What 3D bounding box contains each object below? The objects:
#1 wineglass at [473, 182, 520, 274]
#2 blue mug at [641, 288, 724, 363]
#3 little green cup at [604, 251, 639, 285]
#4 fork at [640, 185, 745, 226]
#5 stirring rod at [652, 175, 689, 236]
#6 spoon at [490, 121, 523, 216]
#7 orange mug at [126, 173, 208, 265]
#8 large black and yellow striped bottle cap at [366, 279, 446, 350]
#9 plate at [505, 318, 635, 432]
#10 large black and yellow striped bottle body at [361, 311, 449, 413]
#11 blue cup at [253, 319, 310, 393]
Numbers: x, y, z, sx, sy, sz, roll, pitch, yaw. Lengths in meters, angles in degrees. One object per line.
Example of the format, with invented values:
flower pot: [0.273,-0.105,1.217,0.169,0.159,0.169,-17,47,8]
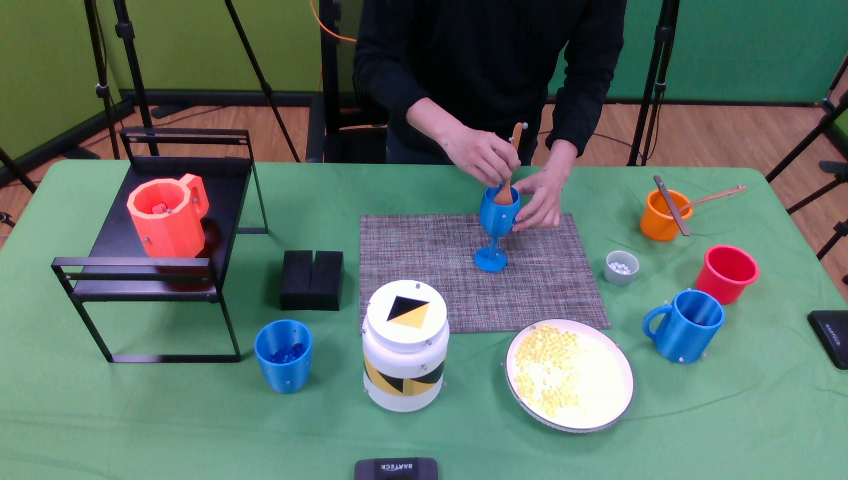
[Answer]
wineglass: [0.131,-0.021,1.116,0.074,0.173,0.073,2,46,-2]
blue mug: [0.432,0.144,1.033,0.116,0.106,0.082,8,46,5]
little green cup: [0.375,0.055,1.161,0.061,0.039,0.061,3,46,-2]
fork: [0.534,-0.069,1.215,0.207,0.019,0.028,-26,27,33]
stirring rod: [0.491,-0.072,1.211,0.014,0.006,0.175,-1,47,-5]
spoon: [0.142,-0.115,1.021,0.041,0.194,0.021,13,38,9]
orange mug: [-0.371,-0.039,0.902,0.083,0.101,0.126,18,52,13]
large black and yellow striped bottle cap: [-0.025,0.104,0.864,0.115,0.019,0.114,3,48,-3]
plate: [0.235,0.221,0.991,0.209,0.038,0.208,2,45,-2]
large black and yellow striped bottle body: [-0.031,0.163,0.924,0.131,0.185,0.130,2,46,-2]
blue cup: [-0.217,0.187,0.943,0.093,0.101,0.092,4,45,-3]
